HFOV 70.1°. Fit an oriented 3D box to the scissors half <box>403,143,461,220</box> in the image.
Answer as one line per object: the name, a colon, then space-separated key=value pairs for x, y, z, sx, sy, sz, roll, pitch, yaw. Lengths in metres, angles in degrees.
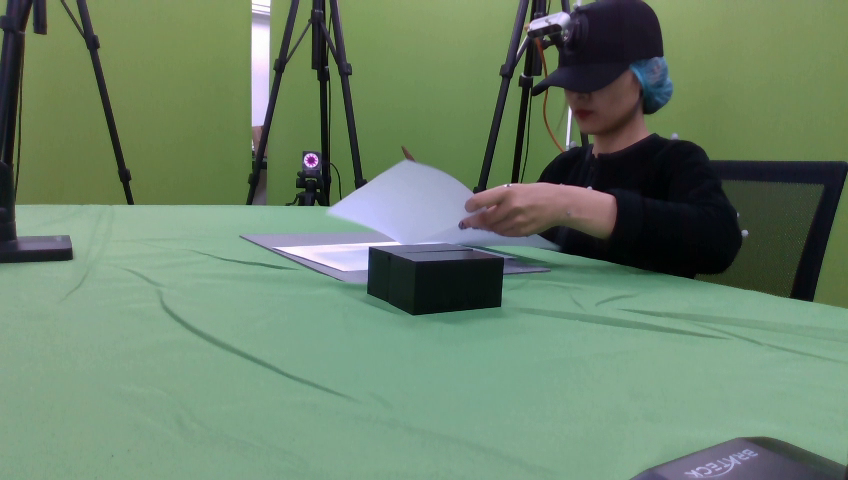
scissors half: x=0.014 y=-0.111 z=1.141 sx=0.040 sy=0.175 sz=0.013 roll=-39 pitch=8 yaw=-3

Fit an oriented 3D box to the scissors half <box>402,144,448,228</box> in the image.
scissors half: x=-0.003 y=-0.101 z=1.141 sx=0.040 sy=0.175 sz=0.013 roll=-23 pitch=7 yaw=0
